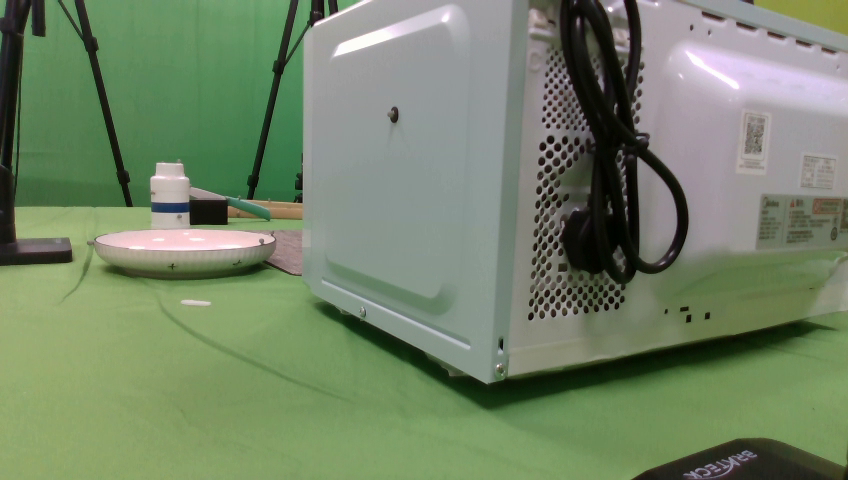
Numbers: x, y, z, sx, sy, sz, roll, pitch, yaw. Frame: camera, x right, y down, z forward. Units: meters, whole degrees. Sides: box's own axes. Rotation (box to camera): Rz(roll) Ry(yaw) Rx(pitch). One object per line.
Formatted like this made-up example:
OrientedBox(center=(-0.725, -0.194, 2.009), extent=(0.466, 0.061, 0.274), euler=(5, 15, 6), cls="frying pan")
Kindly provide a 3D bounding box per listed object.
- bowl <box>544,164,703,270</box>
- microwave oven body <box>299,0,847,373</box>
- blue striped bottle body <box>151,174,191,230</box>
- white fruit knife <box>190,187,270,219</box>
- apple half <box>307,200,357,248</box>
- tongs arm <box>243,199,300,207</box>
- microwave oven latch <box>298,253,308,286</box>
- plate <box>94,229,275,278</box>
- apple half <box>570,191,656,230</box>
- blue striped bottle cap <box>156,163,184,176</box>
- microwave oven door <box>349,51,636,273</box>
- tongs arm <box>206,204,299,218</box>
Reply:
OrientedBox(center=(0.182, -0.019, 0.589), extent=(0.151, 0.077, 0.151), euler=(14, 7, -2), cls="bowl")
OrientedBox(center=(0.152, -0.055, 0.542), extent=(0.444, 0.260, 0.324), euler=(-2, 7, -33), cls="microwave oven body")
OrientedBox(center=(-0.439, -0.071, 1.052), extent=(0.063, 0.120, 0.063), euler=(2, 8, 0), cls="blue striped bottle body")
OrientedBox(center=(-0.413, -0.081, 1.270), extent=(0.208, 0.027, 0.016), euler=(17, 13, -41), cls="white fruit knife")
OrientedBox(center=(-0.135, -0.024, 0.942), extent=(0.053, 0.074, 0.081), euler=(13, 9, 38), cls="apple half")
OrientedBox(center=(-0.309, -0.078, 1.487), extent=(0.385, 0.026, 0.050), euler=(3, 7, -2), cls="tongs arm")
OrientedBox(center=(-0.081, 0.027, 0.582), extent=(0.079, 0.029, 0.030), euler=(-1, 7, -32), cls="microwave oven latch")
OrientedBox(center=(-0.291, 0.016, 0.750), extent=(0.208, 0.039, 0.207), euler=(2, 7, 0), cls="plate")
OrientedBox(center=(0.180, -0.030, 0.585), extent=(0.081, 0.033, 0.081), euler=(7, -6, 1), cls="apple half")
OrientedBox(center=(-0.438, -0.122, 1.045), extent=(0.044, 0.020, 0.044), euler=(5, 6, 0), cls="blue striped bottle cap")
OrientedBox(center=(0.092, -0.085, 0.724), extent=(0.357, 0.243, 0.039), euler=(0, 8, -19), cls="microwave oven door")
OrientedBox(center=(-0.302, -0.065, 1.407), extent=(0.389, 0.028, 0.028), euler=(1, 4, -15), cls="tongs arm")
